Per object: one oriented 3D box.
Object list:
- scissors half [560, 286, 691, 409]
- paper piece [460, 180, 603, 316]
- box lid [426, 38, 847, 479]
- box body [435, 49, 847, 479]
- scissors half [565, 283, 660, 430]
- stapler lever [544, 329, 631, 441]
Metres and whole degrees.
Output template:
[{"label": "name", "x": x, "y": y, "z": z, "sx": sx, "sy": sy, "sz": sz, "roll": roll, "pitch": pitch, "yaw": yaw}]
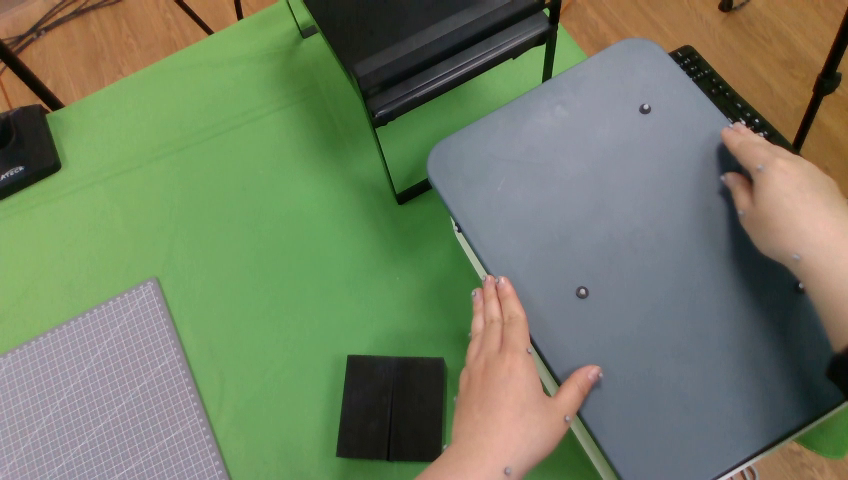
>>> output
[{"label": "scissors half", "x": 0.209, "y": 0.108, "z": 0.642, "sx": 0.040, "sy": 0.013, "sz": 0.173, "roll": -38, "pitch": 64, "yaw": -17}, {"label": "paper piece", "x": 0.126, "y": 0.006, "z": 0.707, "sx": 0.136, "sy": 0.009, "sz": 0.137, "roll": -16, "pitch": 79, "yaw": -8}, {"label": "box lid", "x": 0.189, "y": -0.004, "z": 0.526, "sx": 0.263, "sy": 0.015, "sz": 0.368, "roll": -29, "pitch": 67, "yaw": -4}, {"label": "box body", "x": 0.205, "y": 0.032, "z": 0.596, "sx": 0.254, "sy": 0.161, "sz": 0.361, "roll": -28, "pitch": 68, "yaw": -5}, {"label": "scissors half", "x": 0.191, "y": 0.118, "z": 0.639, "sx": 0.040, "sy": 0.013, "sz": 0.173, "roll": -21, "pitch": 61, "yaw": -2}, {"label": "stapler lever", "x": 0.161, "y": 0.141, "z": 0.600, "sx": 0.027, "sy": 0.040, "sz": 0.117, "roll": -34, "pitch": 72, "yaw": 4}]
